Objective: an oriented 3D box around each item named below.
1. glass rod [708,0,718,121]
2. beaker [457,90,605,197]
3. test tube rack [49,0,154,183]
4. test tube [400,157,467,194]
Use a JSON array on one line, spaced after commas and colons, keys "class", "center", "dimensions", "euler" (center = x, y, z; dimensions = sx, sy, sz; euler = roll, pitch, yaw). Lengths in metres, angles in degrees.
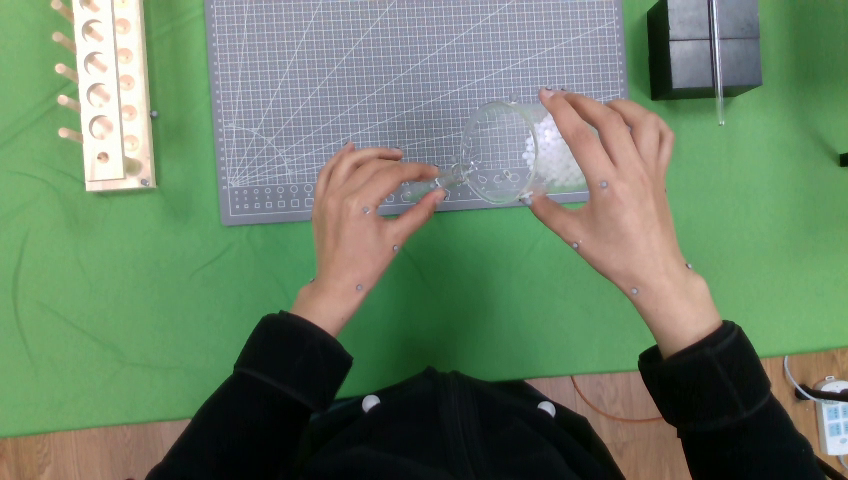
[{"class": "glass rod", "center": [0.300, -0.223, 0.632], "dimensions": [0.008, 0.008, 0.199], "euler": [-2, 91, -5]}, {"class": "beaker", "center": [0.085, -0.073, 0.469], "dimensions": [0.101, 0.084, 0.074], "euler": [-11, 83, -42]}, {"class": "test tube rack", "center": [-0.319, -0.181, 0.587], "dimensions": [0.067, 0.085, 0.242], "euler": [-4, 91, -5]}, {"class": "test tube", "center": [0.004, -0.055, 0.540], "dimensions": [0.017, 0.149, 0.017], "euler": [0, 88, -18]}]
